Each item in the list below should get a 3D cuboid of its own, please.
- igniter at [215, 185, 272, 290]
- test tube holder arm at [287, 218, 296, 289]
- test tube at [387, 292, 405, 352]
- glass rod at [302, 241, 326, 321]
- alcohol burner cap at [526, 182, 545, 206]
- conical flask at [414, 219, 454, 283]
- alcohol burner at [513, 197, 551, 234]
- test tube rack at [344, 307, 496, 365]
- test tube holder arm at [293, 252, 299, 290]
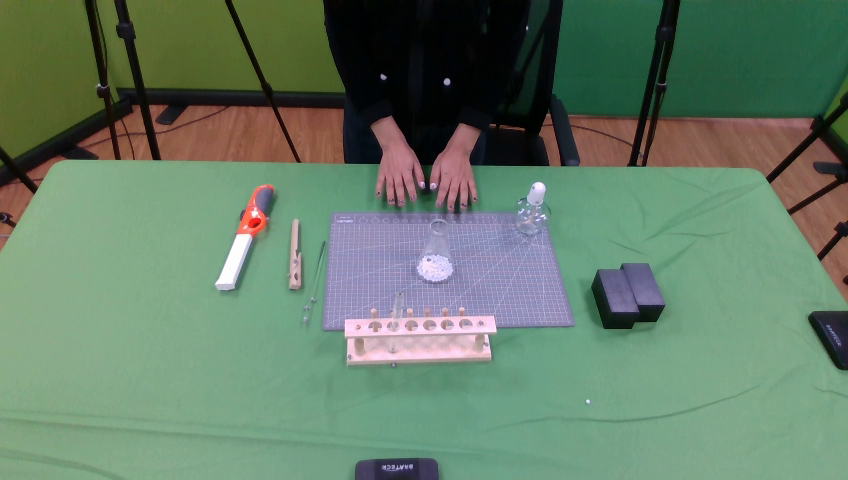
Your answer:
[{"bbox_3d":[-0.347,-0.014,1.182,0.057,0.025,0.275,-1,45,8],"label":"igniter"},{"bbox_3d":[-0.254,0.022,1.158,0.013,0.015,0.177,24,36,-35],"label":"test tube holder arm"},{"bbox_3d":[-0.045,0.133,0.955,0.017,0.151,0.017,5,47,-5],"label":"test tube"},{"bbox_3d":[-0.203,0.071,1.124,0.008,0.008,0.198,4,44,1],"label":"glass rod"},{"bbox_3d":[0.222,-0.092,1.189,0.034,0.048,0.033,2,54,-3],"label":"alcohol burner cap"},{"bbox_3d":[0.022,0.016,1.112,0.075,0.122,0.075,2,46,-2],"label":"conical flask"},{"bbox_3d":[0.220,-0.069,1.217,0.078,0.119,0.077,3,47,-3],"label":"alcohol burner"},{"bbox_3d":[-0.009,0.154,1.007,0.242,0.085,0.066,-1,46,-5],"label":"test tube rack"},{"bbox_3d":[-0.241,0.056,1.131,0.010,0.015,0.087,25,35,-34],"label":"test tube holder arm"}]
